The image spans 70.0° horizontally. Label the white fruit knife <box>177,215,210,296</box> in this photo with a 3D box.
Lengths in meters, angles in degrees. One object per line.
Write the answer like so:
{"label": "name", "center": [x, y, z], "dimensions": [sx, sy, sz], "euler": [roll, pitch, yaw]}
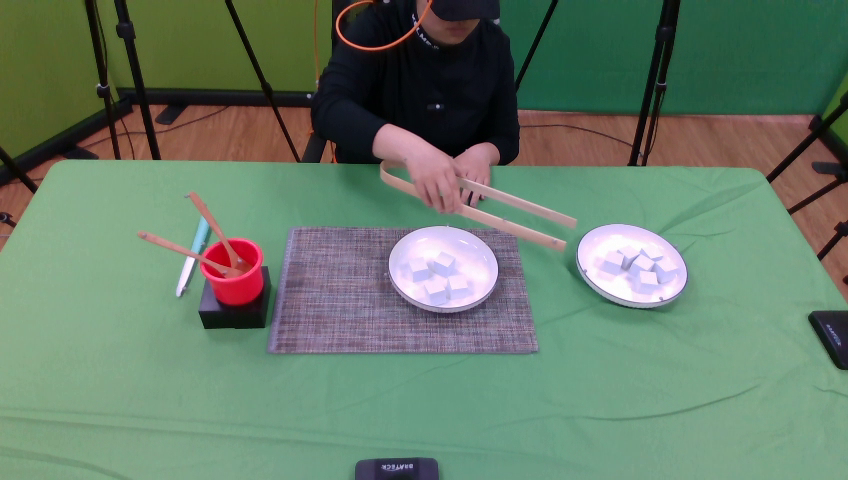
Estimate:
{"label": "white fruit knife", "center": [-0.435, 0.025, 1.148], "dimensions": [0.027, 0.016, 0.206], "euler": [-18, 45, 19]}

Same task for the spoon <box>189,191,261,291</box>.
{"label": "spoon", "center": [-0.333, 0.001, 1.012], "dimensions": [0.041, 0.194, 0.021], "euler": [-34, 15, -25]}

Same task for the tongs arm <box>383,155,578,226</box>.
{"label": "tongs arm", "center": [0.102, -0.095, 1.152], "dimensions": [0.387, 0.028, 0.028], "euler": [20, 54, 12]}

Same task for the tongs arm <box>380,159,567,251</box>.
{"label": "tongs arm", "center": [0.084, -0.069, 1.126], "dimensions": [0.384, 0.026, 0.050], "euler": [21, 50, 13]}

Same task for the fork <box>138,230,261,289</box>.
{"label": "fork", "center": [-0.359, 0.032, 0.981], "dimensions": [0.208, 0.018, 0.028], "euler": [31, 61, -30]}

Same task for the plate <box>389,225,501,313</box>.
{"label": "plate", "center": [0.038, 0.057, 1.129], "dimensions": [0.208, 0.039, 0.206], "euler": [2, 46, -2]}

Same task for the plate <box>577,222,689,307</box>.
{"label": "plate", "center": [0.396, 0.050, 1.165], "dimensions": [0.209, 0.038, 0.208], "euler": [2, 47, -2]}
